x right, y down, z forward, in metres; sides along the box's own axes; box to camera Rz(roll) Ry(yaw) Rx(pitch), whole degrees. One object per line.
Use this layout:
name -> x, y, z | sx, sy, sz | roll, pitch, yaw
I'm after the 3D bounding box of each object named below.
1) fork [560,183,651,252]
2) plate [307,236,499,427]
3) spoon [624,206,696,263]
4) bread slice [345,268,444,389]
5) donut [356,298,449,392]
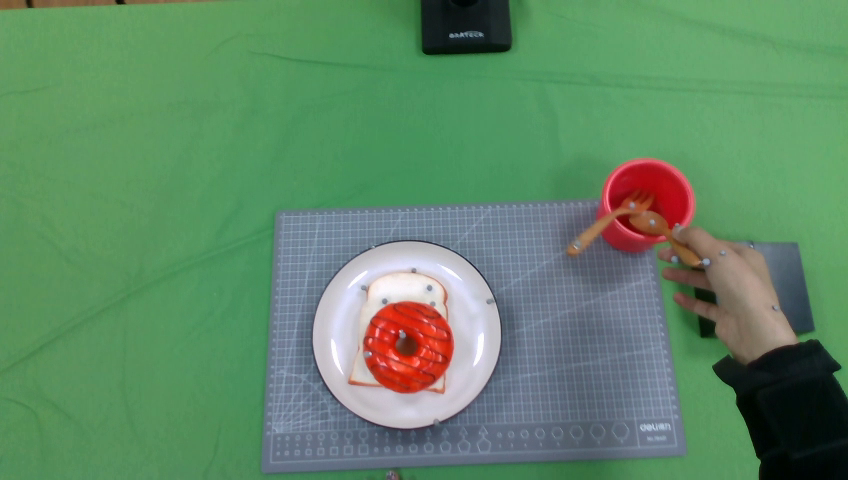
fork -> 0.196, -0.028, 0.647 | 0.028, 0.019, 0.207 | 27, 33, 29
plate -> -0.022, 0.099, 0.669 | 0.209, 0.038, 0.207 | 0, 71, 0
spoon -> 0.236, -0.009, 0.605 | 0.041, 0.193, 0.022 | 6, 102, 6
bread slice -> -0.029, 0.095, 0.673 | 0.105, 0.019, 0.131 | 4, 73, 0
donut -> -0.022, 0.109, 0.637 | 0.099, 0.048, 0.098 | 1, 75, -2
